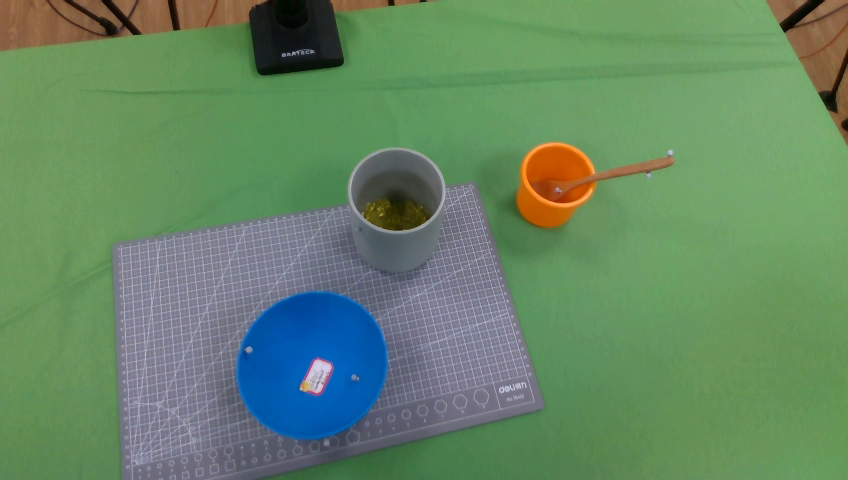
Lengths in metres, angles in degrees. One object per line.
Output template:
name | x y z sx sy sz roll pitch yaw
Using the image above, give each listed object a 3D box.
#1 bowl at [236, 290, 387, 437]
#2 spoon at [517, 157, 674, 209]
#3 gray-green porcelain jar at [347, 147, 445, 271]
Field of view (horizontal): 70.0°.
bowl | -0.114 0.136 0.641 0.151 0.077 0.150 2 66 -4
spoon | 0.198 -0.070 0.720 0.022 0.193 0.041 30 59 -40
gray-green porcelain jar | -0.033 -0.028 0.693 0.106 0.127 0.105 2 66 -3
